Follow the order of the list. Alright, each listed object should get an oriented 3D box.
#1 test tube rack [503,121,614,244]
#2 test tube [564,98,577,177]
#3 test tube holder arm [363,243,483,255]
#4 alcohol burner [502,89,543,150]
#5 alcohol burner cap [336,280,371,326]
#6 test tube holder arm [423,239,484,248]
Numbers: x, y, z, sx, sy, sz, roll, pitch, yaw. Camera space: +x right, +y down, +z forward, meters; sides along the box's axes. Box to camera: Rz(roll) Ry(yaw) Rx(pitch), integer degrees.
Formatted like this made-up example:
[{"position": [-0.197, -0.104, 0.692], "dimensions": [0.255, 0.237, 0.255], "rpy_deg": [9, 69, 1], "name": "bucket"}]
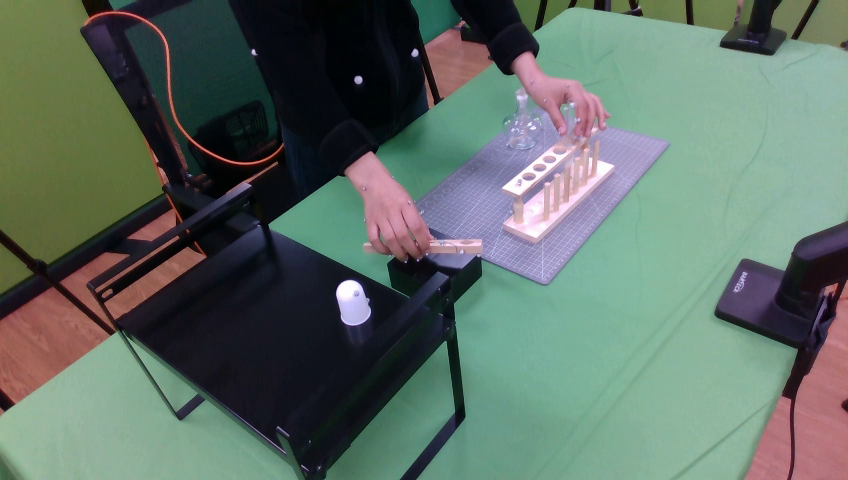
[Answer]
[{"position": [0.230, -0.101, 1.006], "dimensions": [0.066, 0.085, 0.243], "rpy_deg": [26, 50, 34], "name": "test tube rack"}, {"position": [0.243, -0.165, 1.003], "dimensions": [0.017, 0.151, 0.017], "rpy_deg": [-5, 42, 5], "name": "test tube"}, {"position": [-0.004, 0.012, 0.864], "dimensions": [0.178, 0.015, 0.013], "rpy_deg": [-2, 28, 15], "name": "test tube holder arm"}, {"position": [0.186, -0.233, 1.147], "dimensions": [0.078, 0.119, 0.077], "rpy_deg": [-5, 42, 5], "name": "alcohol burner"}, {"position": [-0.073, 0.061, 0.619], "dimensions": [0.034, 0.048, 0.033], "rpy_deg": [-4, 41, 4], "name": "alcohol burner cap"}, {"position": [0.041, 0.008, 0.857], "dimensions": [0.087, 0.015, 0.010], "rpy_deg": [-2, 28, 16], "name": "test tube holder arm"}]
